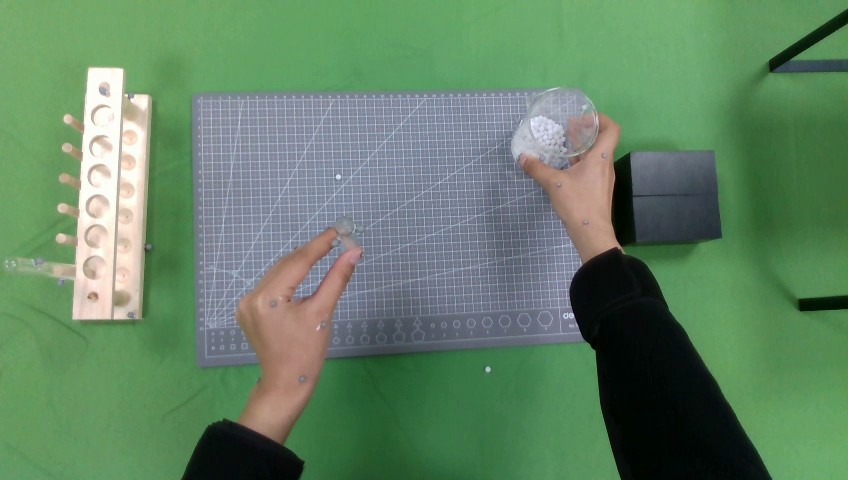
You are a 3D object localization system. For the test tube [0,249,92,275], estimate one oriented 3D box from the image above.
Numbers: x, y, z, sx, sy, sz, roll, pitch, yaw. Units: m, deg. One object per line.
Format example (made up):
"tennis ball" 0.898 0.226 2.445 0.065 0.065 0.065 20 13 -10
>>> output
"test tube" -0.345 0.022 0.558 0.017 0.150 0.017 1 84 -6

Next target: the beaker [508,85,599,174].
"beaker" 0.134 -0.117 0.664 0.084 0.100 0.074 35 81 0

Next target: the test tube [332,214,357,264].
"test tube" -0.067 0.002 0.519 0.017 0.150 0.017 1 79 -5

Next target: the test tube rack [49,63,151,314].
"test tube rack" -0.330 -0.047 0.612 0.067 0.085 0.241 1 83 -6
